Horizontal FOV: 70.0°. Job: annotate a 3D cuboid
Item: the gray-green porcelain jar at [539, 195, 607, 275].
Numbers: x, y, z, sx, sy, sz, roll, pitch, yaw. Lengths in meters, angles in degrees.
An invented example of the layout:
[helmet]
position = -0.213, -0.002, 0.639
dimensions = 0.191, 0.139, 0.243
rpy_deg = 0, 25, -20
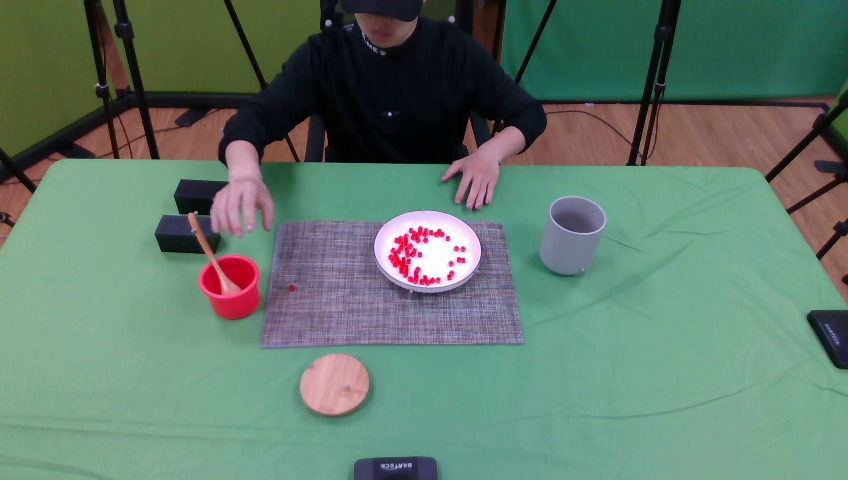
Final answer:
[gray-green porcelain jar]
position = 0.278, -0.004, 1.148
dimensions = 0.106, 0.127, 0.105
rpy_deg = 2, 46, -2

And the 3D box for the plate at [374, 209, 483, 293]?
[plate]
position = 0.008, 0.024, 1.158
dimensions = 0.208, 0.039, 0.206
rpy_deg = 2, 46, -2

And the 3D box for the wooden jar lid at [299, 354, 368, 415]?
[wooden jar lid]
position = -0.143, 0.232, 0.964
dimensions = 0.108, 0.021, 0.107
rpy_deg = 2, 45, -2

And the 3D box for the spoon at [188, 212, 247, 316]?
[spoon]
position = -0.358, 0.042, 1.036
dimensions = 0.041, 0.021, 0.194
rpy_deg = -28, 93, -21
